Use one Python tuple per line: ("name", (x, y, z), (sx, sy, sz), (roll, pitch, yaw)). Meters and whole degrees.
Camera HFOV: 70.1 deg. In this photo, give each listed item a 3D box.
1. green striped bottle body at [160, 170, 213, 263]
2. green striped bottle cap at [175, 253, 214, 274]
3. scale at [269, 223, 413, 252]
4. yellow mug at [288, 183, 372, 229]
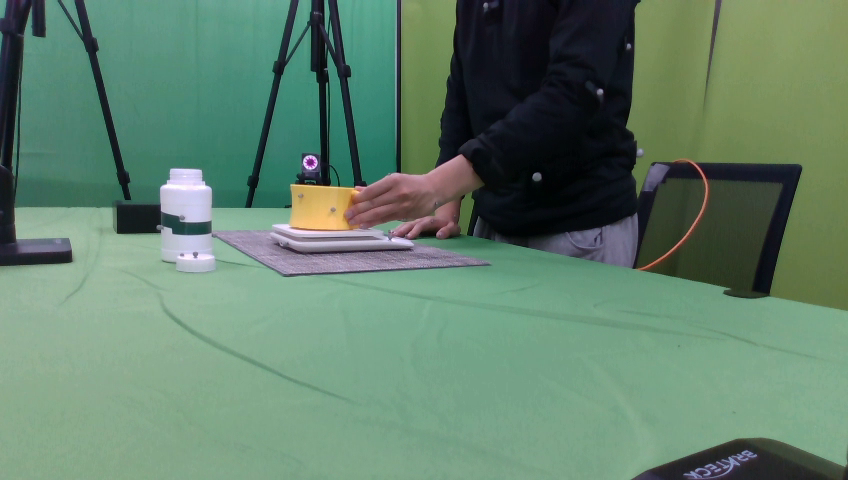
("green striped bottle body", (-0.312, -0.033, 0.797), (0.063, 0.119, 0.063), (2, 7, 0))
("green striped bottle cap", (-0.280, 0.029, 0.740), (0.044, 0.020, 0.044), (7, 3, 0))
("scale", (-0.132, -0.007, 0.965), (0.202, 0.031, 0.148), (-2, 8, -31))
("yellow mug", (-0.145, -0.053, 0.939), (0.131, 0.064, 0.100), (4, 5, 8))
